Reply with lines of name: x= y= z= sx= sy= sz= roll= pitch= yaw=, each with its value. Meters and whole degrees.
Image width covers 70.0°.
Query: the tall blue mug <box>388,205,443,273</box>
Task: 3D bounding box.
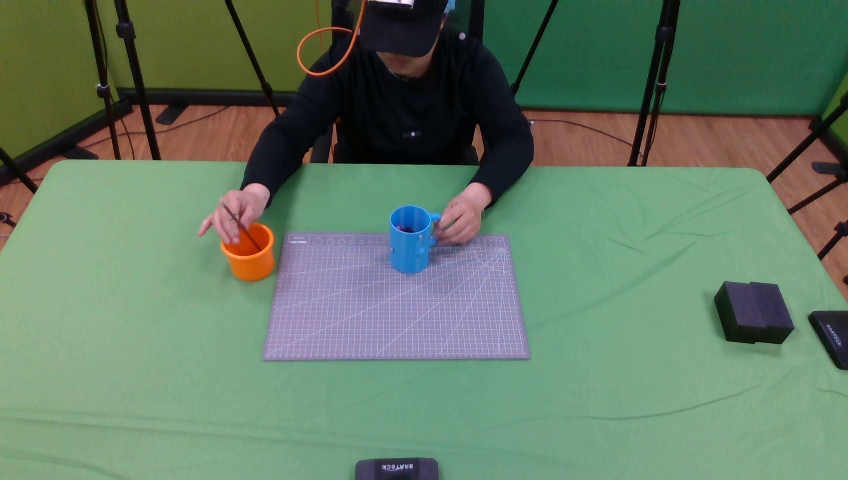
tall blue mug: x=-0.020 y=-0.010 z=1.144 sx=0.077 sy=0.108 sz=0.107 roll=23 pitch=49 yaw=18

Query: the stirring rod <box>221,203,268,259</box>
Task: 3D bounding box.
stirring rod: x=-0.316 y=-0.014 z=1.075 sx=0.014 sy=0.177 sz=0.006 roll=32 pitch=70 yaw=27
